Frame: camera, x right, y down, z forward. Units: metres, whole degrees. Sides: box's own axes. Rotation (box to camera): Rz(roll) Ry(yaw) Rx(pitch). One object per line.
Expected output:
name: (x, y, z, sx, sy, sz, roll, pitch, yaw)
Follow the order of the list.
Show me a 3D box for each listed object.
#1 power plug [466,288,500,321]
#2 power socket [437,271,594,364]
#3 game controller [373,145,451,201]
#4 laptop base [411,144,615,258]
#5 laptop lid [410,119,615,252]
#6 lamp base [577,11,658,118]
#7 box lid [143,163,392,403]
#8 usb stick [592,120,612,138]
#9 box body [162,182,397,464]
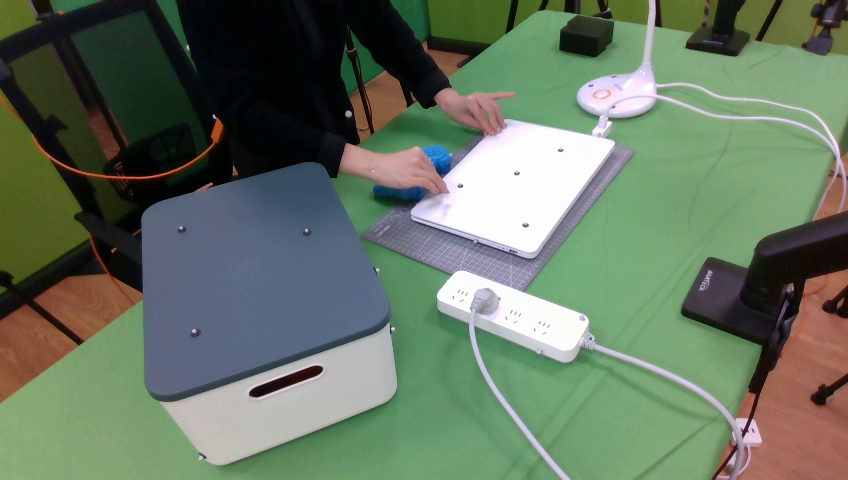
power plug: (0.072, 0.093, 0.813, 0.073, 0.053, 0.035, -37, 49, -28)
power socket: (0.118, 0.102, 0.830, 0.225, 0.033, 0.072, 20, 48, 28)
game controller: (-0.018, -0.129, 1.111, 0.096, 0.052, 0.155, 21, 48, 27)
laptop base: (0.167, -0.102, 1.074, 0.234, 0.023, 0.355, 16, 45, 30)
laptop lid: (0.164, -0.114, 1.065, 0.240, 0.013, 0.357, 20, 47, 30)
lamp base: (0.406, -0.363, 1.222, 0.180, 0.181, 0.159, -20, 42, -18)
box lid: (-0.212, 0.025, 0.753, 0.264, 0.015, 0.368, -18, 40, -13)
usb stick: (0.335, -0.203, 1.149, 0.021, 0.027, 0.059, 25, 53, 26)
box body: (-0.205, 0.080, 0.802, 0.255, 0.161, 0.361, -18, 41, -13)
